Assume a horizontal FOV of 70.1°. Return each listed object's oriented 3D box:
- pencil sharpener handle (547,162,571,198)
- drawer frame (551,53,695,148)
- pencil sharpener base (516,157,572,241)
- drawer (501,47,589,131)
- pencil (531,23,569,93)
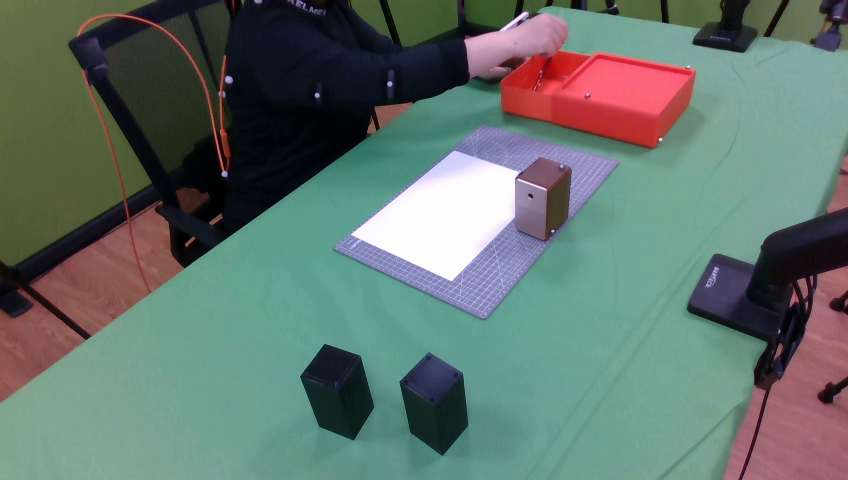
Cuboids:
[{"bbox_3d":[0.221,-0.101,0.968,0.035,0.068,0.031,20,47,37],"label":"pencil sharpener handle"},{"bbox_3d":[0.391,-0.281,1.196,0.212,0.083,0.202,22,48,30],"label":"drawer frame"},{"bbox_3d":[0.189,-0.065,0.948,0.061,0.107,0.077,24,49,33],"label":"pencil sharpener base"},{"bbox_3d":[0.296,-0.316,1.257,0.210,0.073,0.195,22,48,29],"label":"drawer"},{"bbox_3d":[0.245,-0.346,1.225,0.012,0.194,0.012,24,18,-8],"label":"pencil"}]
